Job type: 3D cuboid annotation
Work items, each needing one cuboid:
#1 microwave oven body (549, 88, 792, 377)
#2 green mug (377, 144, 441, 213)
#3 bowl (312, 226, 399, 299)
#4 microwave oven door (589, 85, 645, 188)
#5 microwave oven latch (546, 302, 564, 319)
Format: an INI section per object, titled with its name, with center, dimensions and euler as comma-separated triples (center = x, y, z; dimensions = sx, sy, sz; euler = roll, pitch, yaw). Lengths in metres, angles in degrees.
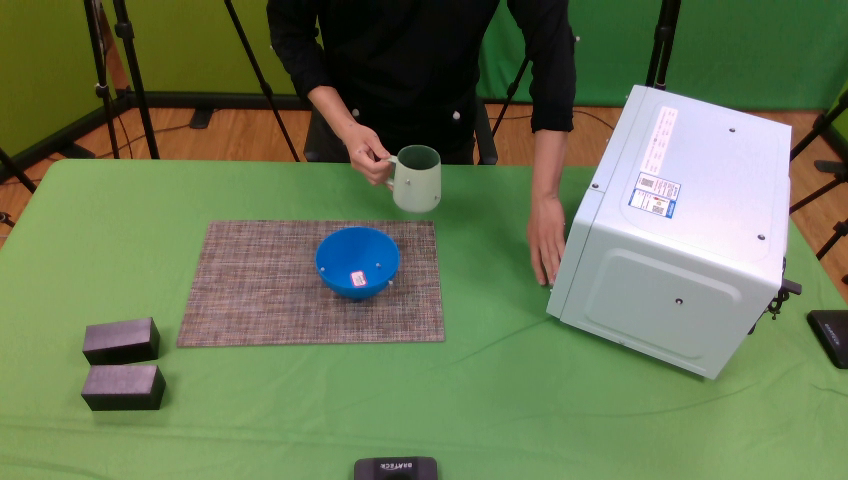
[microwave oven body]
center = 0.456, -0.028, 1.088
dimensions = 0.325, 0.261, 0.440
euler = 20, 47, 16
[green mug]
center = -0.028, -0.116, 1.121
dimensions = 0.125, 0.105, 0.092
euler = 17, 46, 14
[bowl]
center = -0.120, 0.054, 1.091
dimensions = 0.151, 0.077, 0.150
euler = 2, 46, -2
[microwave oven door]
center = 0.342, -0.107, 1.149
dimensions = 0.039, 0.245, 0.354
euler = 20, 48, 15
[microwave oven latch]
center = 0.242, 0.102, 1.081
dimensions = 0.030, 0.029, 0.079
euler = 22, 48, 17
